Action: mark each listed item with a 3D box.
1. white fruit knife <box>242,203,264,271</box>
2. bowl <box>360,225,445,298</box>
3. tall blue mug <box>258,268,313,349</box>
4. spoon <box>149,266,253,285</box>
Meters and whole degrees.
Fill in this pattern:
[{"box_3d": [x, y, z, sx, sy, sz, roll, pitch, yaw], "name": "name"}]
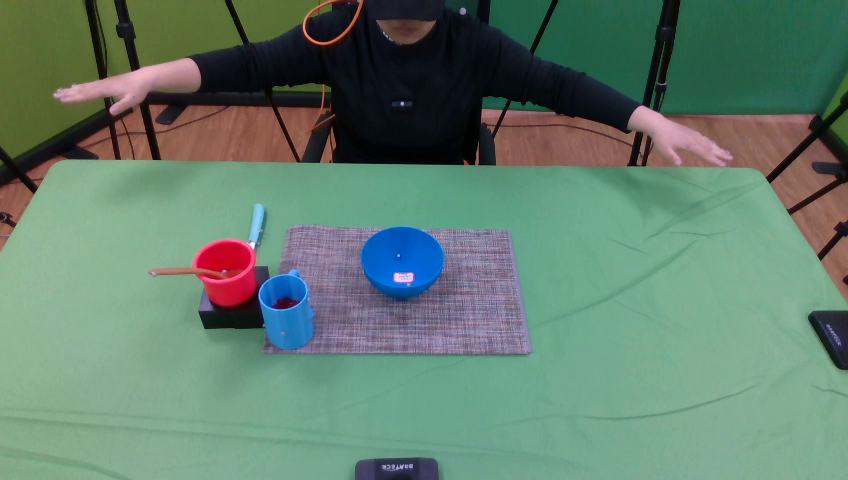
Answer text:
[{"box_3d": [-0.334, 0.000, 1.178, 0.027, 0.016, 0.206, -18, 46, 16], "name": "white fruit knife"}, {"box_3d": [-0.040, 0.053, 1.099, 0.151, 0.077, 0.150, 2, 46, -2], "name": "bowl"}, {"box_3d": [-0.232, 0.108, 1.010, 0.078, 0.108, 0.106, -15, 49, -17], "name": "tall blue mug"}, {"box_3d": [-0.351, 0.052, 0.968, 0.041, 0.021, 0.194, 41, 12, 28], "name": "spoon"}]
